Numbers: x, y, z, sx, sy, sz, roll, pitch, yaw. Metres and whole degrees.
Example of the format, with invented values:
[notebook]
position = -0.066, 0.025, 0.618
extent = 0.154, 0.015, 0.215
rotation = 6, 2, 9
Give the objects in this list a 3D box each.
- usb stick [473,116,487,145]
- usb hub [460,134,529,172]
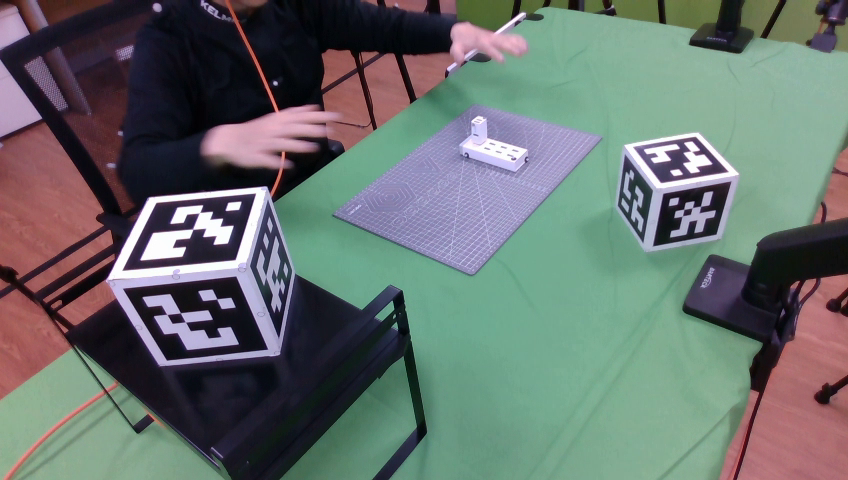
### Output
[usb stick]
position = 0.105, -0.208, 1.127
extent = 0.021, 0.059, 0.027
rotation = 7, 45, 4
[usb hub]
position = 0.132, -0.165, 1.138
extent = 0.124, 0.025, 0.049
rotation = 22, 49, 30
